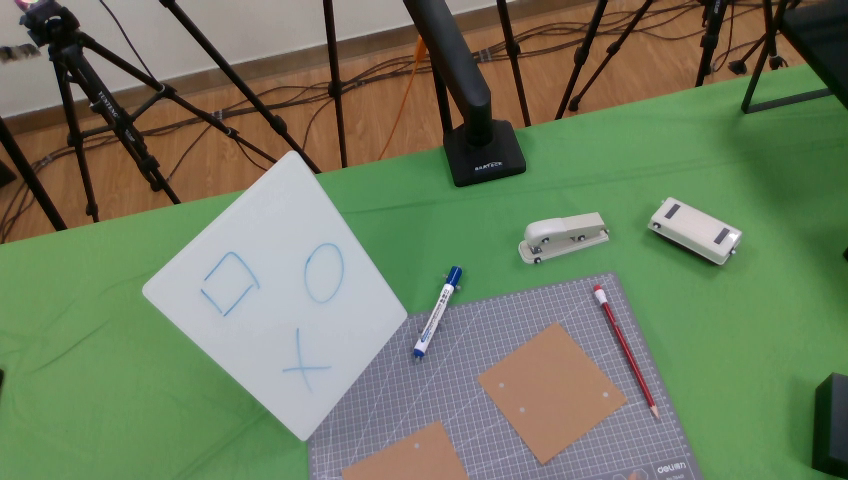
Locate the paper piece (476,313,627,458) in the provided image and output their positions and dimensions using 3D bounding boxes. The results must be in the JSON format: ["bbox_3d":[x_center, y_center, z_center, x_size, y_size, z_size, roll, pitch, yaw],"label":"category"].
[{"bbox_3d":[0.158,0.179,0.764,0.136,0.009,0.137,-33,59,-9],"label":"paper piece"}]

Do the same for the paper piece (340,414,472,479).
[{"bbox_3d":[-0.014,0.292,0.713,0.135,0.004,0.134,-24,56,-9],"label":"paper piece"}]

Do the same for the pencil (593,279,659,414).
[{"bbox_3d":[0.258,0.132,0.779,0.012,0.012,0.192,-16,57,-2],"label":"pencil"}]

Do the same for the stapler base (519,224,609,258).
[{"bbox_3d":[0.203,-0.010,0.881,0.130,0.024,0.041,-16,58,-5],"label":"stapler base"}]

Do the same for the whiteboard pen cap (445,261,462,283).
[{"bbox_3d":[0.042,0.047,0.867,0.018,0.018,0.033,14,59,18],"label":"whiteboard pen cap"}]

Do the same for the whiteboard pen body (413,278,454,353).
[{"bbox_3d":[0.018,0.092,0.840,0.017,0.017,0.140,16,59,19],"label":"whiteboard pen body"}]

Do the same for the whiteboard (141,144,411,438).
[{"bbox_3d":[-0.191,0.057,0.759,0.142,0.309,0.216,19,59,44],"label":"whiteboard"}]

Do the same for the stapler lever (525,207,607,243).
[{"bbox_3d":[0.201,-0.025,0.862,0.118,0.040,0.026,-17,57,-4],"label":"stapler lever"}]

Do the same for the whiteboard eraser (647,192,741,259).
[{"bbox_3d":[0.377,-0.019,0.848,0.112,0.042,0.055,33,68,27],"label":"whiteboard eraser"}]
